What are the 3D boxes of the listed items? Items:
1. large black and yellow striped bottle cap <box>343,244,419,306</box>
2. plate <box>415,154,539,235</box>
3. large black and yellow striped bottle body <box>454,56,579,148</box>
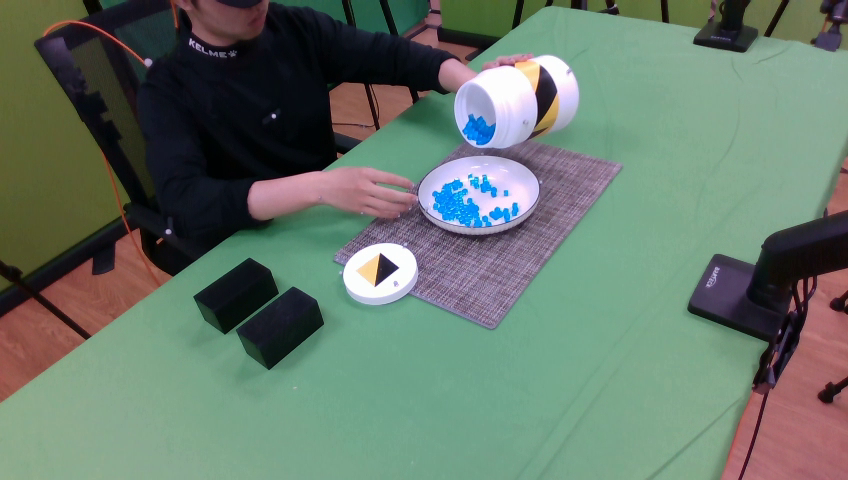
[{"bbox_3d":[-0.066,0.051,0.918,0.115,0.019,0.114,-6,43,6],"label":"large black and yellow striped bottle cap"},{"bbox_3d":[0.090,-0.074,1.025,0.207,0.039,0.206,-4,41,4],"label":"plate"},{"bbox_3d":[0.155,-0.231,1.021,0.185,0.131,0.129,-22,42,-31],"label":"large black and yellow striped bottle body"}]
